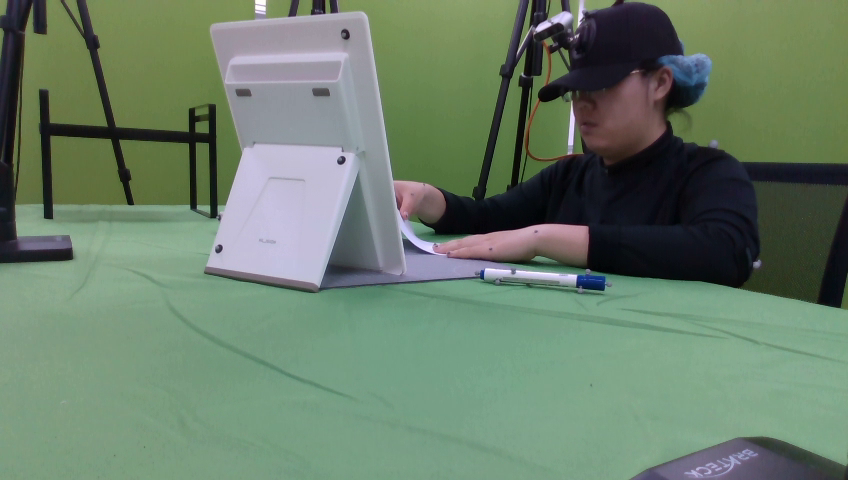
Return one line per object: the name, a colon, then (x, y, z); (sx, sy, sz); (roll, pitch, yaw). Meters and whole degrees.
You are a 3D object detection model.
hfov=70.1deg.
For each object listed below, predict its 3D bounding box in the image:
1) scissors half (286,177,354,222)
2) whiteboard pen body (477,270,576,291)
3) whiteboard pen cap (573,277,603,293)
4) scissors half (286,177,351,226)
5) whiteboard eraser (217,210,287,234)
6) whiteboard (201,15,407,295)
scissors half: (-0.230, -0.090, 1.337); (0.175, 0.013, 0.040); (33, 12, -13)
whiteboard pen body: (0.131, 0.048, 0.706); (0.140, 0.017, 0.017); (4, 8, 18)
whiteboard pen cap: (0.186, 0.051, 0.687); (0.033, 0.018, 0.018); (4, 7, 18)
scissors half: (-0.232, -0.085, 1.317); (0.175, 0.013, 0.040); (37, 17, 5)
whiteboard eraser: (-0.310, -0.034, 1.094); (0.113, 0.042, 0.055); (-2, 11, -38)
whiteboard: (-0.167, -0.073, 0.668); (0.216, 0.305, 0.144); (7, 30, 28)
